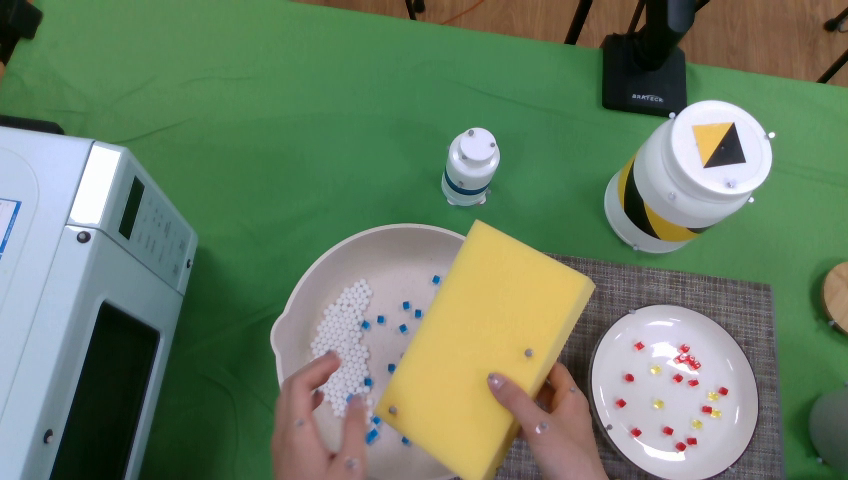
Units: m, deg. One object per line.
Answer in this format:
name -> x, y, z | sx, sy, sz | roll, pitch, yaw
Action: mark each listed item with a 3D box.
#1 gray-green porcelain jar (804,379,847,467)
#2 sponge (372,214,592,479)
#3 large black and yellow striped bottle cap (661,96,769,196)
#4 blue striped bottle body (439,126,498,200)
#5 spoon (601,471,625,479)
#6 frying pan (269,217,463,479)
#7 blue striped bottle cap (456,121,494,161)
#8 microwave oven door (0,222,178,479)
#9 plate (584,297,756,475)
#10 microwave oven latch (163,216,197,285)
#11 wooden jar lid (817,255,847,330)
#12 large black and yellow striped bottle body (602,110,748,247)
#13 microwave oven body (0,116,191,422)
gray-green porcelain jar -> 0.522, 0.212, 0.703 | 0.106, 0.127, 0.105 | 2, 72, -5
sponge -> 0.054, 0.096, 0.566 | 0.117, 0.061, 0.207 | 28, 92, 23
large black and yellow striped bottle cap -> 0.317, -0.104, 0.660 | 0.115, 0.019, 0.114 | 2, 71, -5
blue striped bottle body -> 0.056, -0.100, 0.757 | 0.063, 0.121, 0.062 | 2, 72, -5
spoon -> 0.268, 0.344, 0.689 | 0.041, 0.022, 0.193 | -37, 81, -33
frying pan -> -0.030, 0.213, 0.657 | 0.307, 0.103, 0.484 | 7, 64, -1
blue striped bottle cap -> 0.060, -0.116, 0.707 | 0.044, 0.021, 0.044 | 2, 70, -4
microwave oven door -> -0.314, 0.185, 0.548 | 0.039, 0.245, 0.353 | 8, 72, -4
plate -> 0.293, 0.173, 0.735 | 0.209, 0.038, 0.208 | 1, 73, -4
microwave oven latch -> -0.290, 0.010, 0.712 | 0.030, 0.029, 0.078 | 11, 73, -2
wooden jar lid -> 0.574, 0.073, 0.807 | 0.108, 0.021, 0.108 | 1, 74, -4
large black and yellow striped bottle body -> 0.310, -0.078, 0.742 | 0.131, 0.185, 0.130 | 2, 72, -4
microwave oven body -> -0.451, 0.126, 0.560 | 0.326, 0.261, 0.439 | 8, 73, -3
